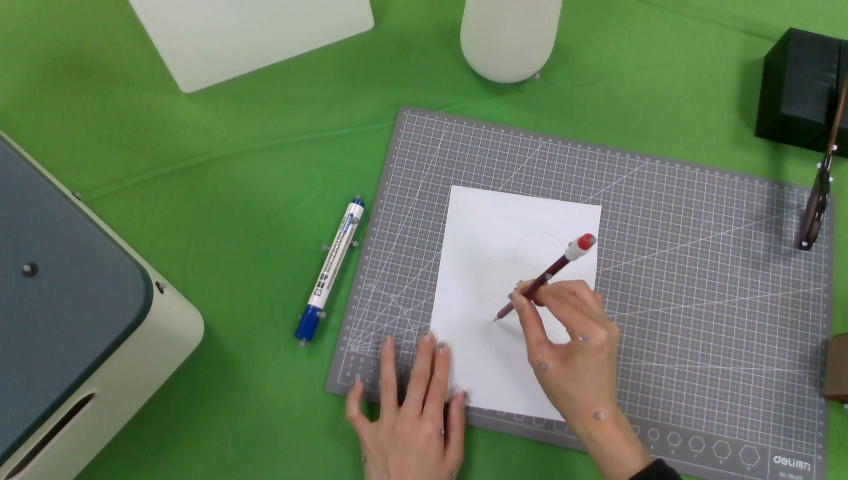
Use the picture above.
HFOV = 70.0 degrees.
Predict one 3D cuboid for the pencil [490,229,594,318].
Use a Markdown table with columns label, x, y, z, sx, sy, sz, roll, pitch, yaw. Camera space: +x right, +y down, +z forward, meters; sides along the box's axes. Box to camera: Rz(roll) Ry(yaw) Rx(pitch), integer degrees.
| label | x | y | z | sx | sy | sz | roll | pitch | yaw |
| --- | --- | --- | --- | --- | --- | --- | --- | --- | --- |
| pencil | 0.085 | 0.034 | 0.482 | 0.012 | 0.195 | 0.012 | 6 | 65 | -12 |

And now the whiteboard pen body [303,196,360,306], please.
| label | x | y | z | sx | sy | sz | roll | pitch | yaw |
| --- | --- | --- | --- | --- | --- | --- | --- | --- | --- |
| whiteboard pen body | -0.092 | 0.020 | 0.577 | 0.017 | 0.017 | 0.140 | 19 | 73 | 5 |

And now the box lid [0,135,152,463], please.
| label | x | y | z | sx | sy | sz | roll | pitch | yaw |
| --- | --- | --- | --- | --- | --- | --- | --- | --- | --- |
| box lid | -0.403 | 0.015 | 0.423 | 0.370 | 0.015 | 0.263 | 39 | 76 | 10 |

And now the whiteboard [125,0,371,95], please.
| label | x | y | z | sx | sy | sz | roll | pitch | yaw |
| --- | --- | --- | --- | --- | --- | --- | --- | --- | --- |
| whiteboard | -0.200 | -0.330 | 0.562 | 0.217 | 0.308 | 0.142 | -21 | 55 | -6 |

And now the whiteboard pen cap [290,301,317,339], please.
| label | x | y | z | sx | sy | sz | roll | pitch | yaw |
| --- | --- | --- | --- | --- | --- | --- | --- | --- | --- |
| whiteboard pen cap | -0.110 | 0.073 | 0.559 | 0.018 | 0.018 | 0.033 | 18 | 70 | 5 |

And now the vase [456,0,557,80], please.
| label | x | y | z | sx | sy | sz | roll | pitch | yaw |
| --- | --- | --- | --- | --- | --- | --- | --- | --- | --- |
| vase | 0.081 | -0.237 | 0.561 | 0.098 | 0.201 | 0.097 | 0 | 72 | 1 |

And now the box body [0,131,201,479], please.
| label | x | y | z | sx | sy | sz | roll | pitch | yaw |
| --- | --- | --- | --- | --- | --- | --- | --- | --- | --- |
| box body | -0.401 | 0.038 | 0.494 | 0.363 | 0.161 | 0.254 | 38 | 77 | 10 |

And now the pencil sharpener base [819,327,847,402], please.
| label | x | y | z | sx | sy | sz | roll | pitch | yaw |
| --- | --- | --- | --- | --- | --- | --- | --- | --- | --- |
| pencil sharpener base | 0.404 | 0.108 | 0.511 | 0.077 | 0.107 | 0.061 | 16 | 73 | 1 |

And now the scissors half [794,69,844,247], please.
| label | x | y | z | sx | sy | sz | roll | pitch | yaw |
| --- | --- | --- | --- | --- | --- | --- | --- | --- | --- |
| scissors half | 0.381 | -0.079 | 0.581 | 0.012 | 0.040 | 0.175 | 14 | 93 | 29 |

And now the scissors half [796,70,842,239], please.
| label | x | y | z | sx | sy | sz | roll | pitch | yaw |
| --- | --- | --- | --- | --- | --- | --- | --- | --- | --- |
| scissors half | 0.372 | -0.083 | 0.563 | 0.013 | 0.040 | 0.174 | 14 | 75 | 24 |

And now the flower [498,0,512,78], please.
| label | x | y | z | sx | sy | sz | roll | pitch | yaw |
| --- | --- | --- | --- | --- | --- | --- | --- | --- | --- |
| flower | 0.077 | -0.275 | 0.486 | 0.044 | 0.365 | 0.038 | 5 | 56 | 5 |
